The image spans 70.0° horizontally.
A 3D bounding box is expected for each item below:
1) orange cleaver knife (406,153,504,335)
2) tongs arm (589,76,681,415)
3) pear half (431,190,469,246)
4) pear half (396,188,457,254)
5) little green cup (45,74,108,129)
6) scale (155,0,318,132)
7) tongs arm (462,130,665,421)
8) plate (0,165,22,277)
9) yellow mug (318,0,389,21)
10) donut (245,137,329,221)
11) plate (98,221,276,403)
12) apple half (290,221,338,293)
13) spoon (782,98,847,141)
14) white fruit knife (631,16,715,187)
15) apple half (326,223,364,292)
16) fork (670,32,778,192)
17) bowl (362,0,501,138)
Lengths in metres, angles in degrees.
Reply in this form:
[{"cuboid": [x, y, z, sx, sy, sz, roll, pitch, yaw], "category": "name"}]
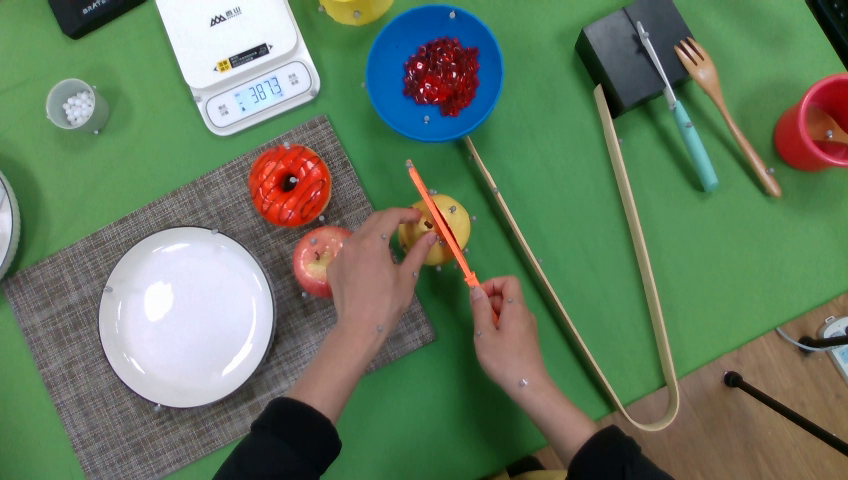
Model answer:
[{"cuboid": [0.031, 0.003, 0.643, 0.012, 0.077, 0.212, -27, 99, 8], "category": "orange cleaver knife"}, {"cuboid": [0.235, 0.002, 0.685, 0.028, 0.028, 0.386, -13, 87, -4], "category": "tongs arm"}, {"cuboid": [0.032, -0.030, 0.671, 0.031, 0.088, 0.070, -35, 81, -5], "category": "pear half"}, {"cuboid": [-0.005, -0.015, 0.656, 0.056, 0.110, 0.076, -45, 75, 14], "category": "pear half"}, {"cuboid": [-0.419, -0.165, 0.734, 0.061, 0.039, 0.061, 0, 86, 5], "category": "little green cup"}, {"cuboid": [-0.227, -0.245, 0.728, 0.148, 0.031, 0.200, -23, 86, 3], "category": "scale"}, {"cuboid": [0.155, 0.035, 0.685, 0.051, 0.026, 0.384, -28, 86, -2], "category": "tongs arm"}, {"cuboid": [-0.585, -0.019, 0.737, 0.207, 0.039, 0.207, 0, 87, 4], "category": "plate"}, {"cuboid": [-0.101, -0.325, 0.706, 0.130, 0.064, 0.100, 30, 90, 6], "category": "yellow mug"}, {"cuboid": [-0.159, -0.070, 0.703, 0.099, 0.048, 0.099, 0, 88, 6], "category": "donut"}, {"cuboid": [-0.270, 0.082, 0.706, 0.209, 0.038, 0.208, 0, 87, 4], "category": "plate"}, {"cuboid": [-0.121, 0.018, 0.681, 0.053, 0.075, 0.081, 7, 90, 8], "category": "apple half"}, {"cuboid": [0.447, -0.096, 0.617, 0.041, 0.022, 0.191, -33, 41, 1], "category": "spoon"}, {"cuboid": [0.272, -0.150, 0.664, 0.016, 0.027, 0.208, -29, 100, 2], "category": "white fruit knife"}, {"cuboid": [-0.082, 0.021, 0.678, 0.033, 0.081, 0.081, 6, 87, 8], "category": "apple half"}, {"cuboid": [0.334, -0.138, 0.667, 0.028, 0.018, 0.208, -37, 101, -1], "category": "fork"}, {"cuboid": [0.011, -0.182, 0.685, 0.151, 0.077, 0.151, 0, 87, 4], "category": "bowl"}]
